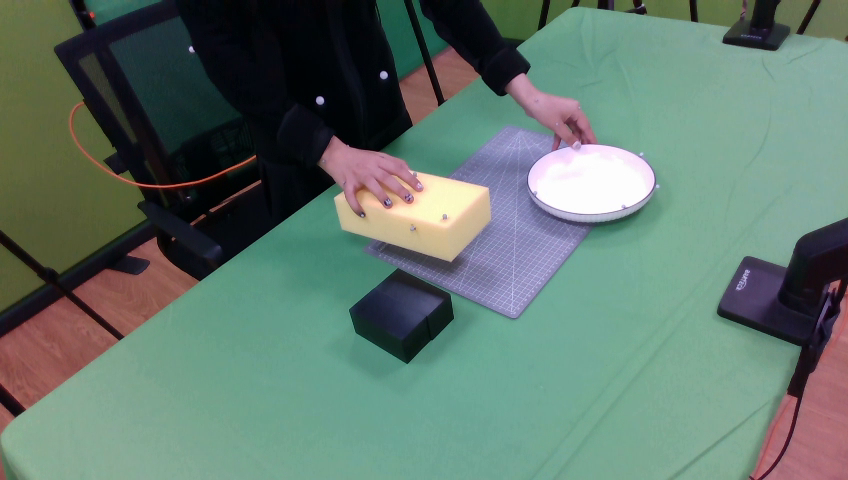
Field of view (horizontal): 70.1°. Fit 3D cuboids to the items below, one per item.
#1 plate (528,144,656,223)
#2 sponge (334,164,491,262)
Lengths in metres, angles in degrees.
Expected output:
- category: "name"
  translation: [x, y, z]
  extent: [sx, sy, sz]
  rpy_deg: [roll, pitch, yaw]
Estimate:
- category: "plate"
  translation: [0.281, -0.093, 1.023]
  extent: [0.209, 0.038, 0.208]
  rpy_deg: [-5, 40, 5]
- category: "sponge"
  translation: [-0.017, -0.046, 0.919]
  extent: [0.205, 0.061, 0.118]
  rpy_deg: [16, 42, 29]
